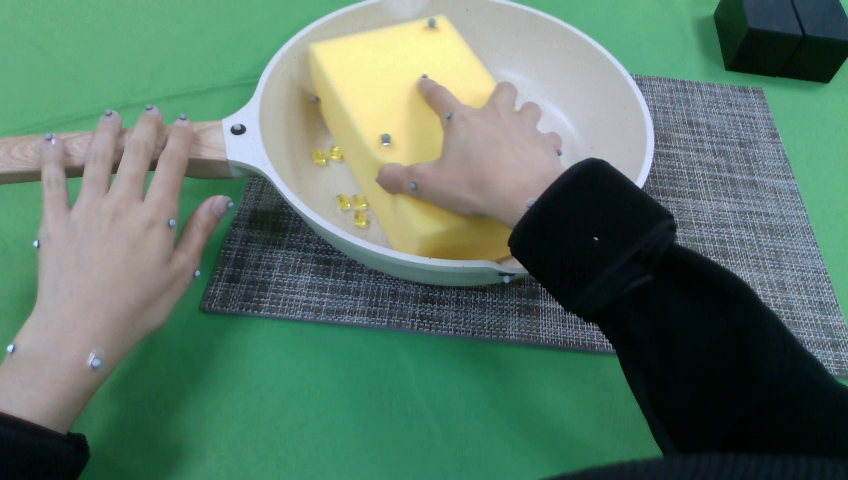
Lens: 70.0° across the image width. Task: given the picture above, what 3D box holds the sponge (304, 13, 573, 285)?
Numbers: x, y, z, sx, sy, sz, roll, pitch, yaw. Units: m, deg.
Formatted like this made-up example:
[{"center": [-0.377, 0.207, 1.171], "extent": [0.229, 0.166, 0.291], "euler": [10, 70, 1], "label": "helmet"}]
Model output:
[{"center": [0.002, -0.078, 0.457], "extent": [0.118, 0.061, 0.204], "euler": [-20, 58, -18], "label": "sponge"}]

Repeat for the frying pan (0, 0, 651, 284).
[{"center": [-0.080, -0.074, 0.435], "extent": [0.490, 0.103, 0.303], "euler": [-6, 53, -18], "label": "frying pan"}]
